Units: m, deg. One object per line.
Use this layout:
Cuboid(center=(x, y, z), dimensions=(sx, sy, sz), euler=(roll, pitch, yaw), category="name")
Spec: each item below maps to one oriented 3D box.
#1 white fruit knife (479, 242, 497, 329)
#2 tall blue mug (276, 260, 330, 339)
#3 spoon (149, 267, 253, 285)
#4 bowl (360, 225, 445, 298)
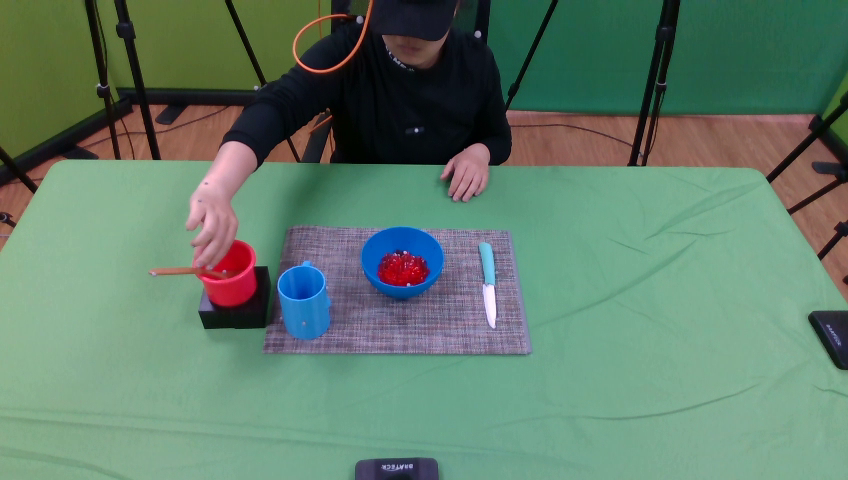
Cuboid(center=(0.122, 0.080, 1.130), dimensions=(0.027, 0.016, 0.206), euler=(-19, 45, 19), category="white fruit knife")
Cuboid(center=(-0.208, 0.094, 1.025), dimensions=(0.078, 0.108, 0.106), euler=(-21, 51, -21), category="tall blue mug")
Cuboid(center=(-0.351, 0.052, 0.968), dimensions=(0.041, 0.021, 0.194), euler=(41, 12, 28), category="spoon")
Cuboid(center=(-0.040, 0.053, 1.099), dimensions=(0.151, 0.077, 0.150), euler=(2, 46, -2), category="bowl")
